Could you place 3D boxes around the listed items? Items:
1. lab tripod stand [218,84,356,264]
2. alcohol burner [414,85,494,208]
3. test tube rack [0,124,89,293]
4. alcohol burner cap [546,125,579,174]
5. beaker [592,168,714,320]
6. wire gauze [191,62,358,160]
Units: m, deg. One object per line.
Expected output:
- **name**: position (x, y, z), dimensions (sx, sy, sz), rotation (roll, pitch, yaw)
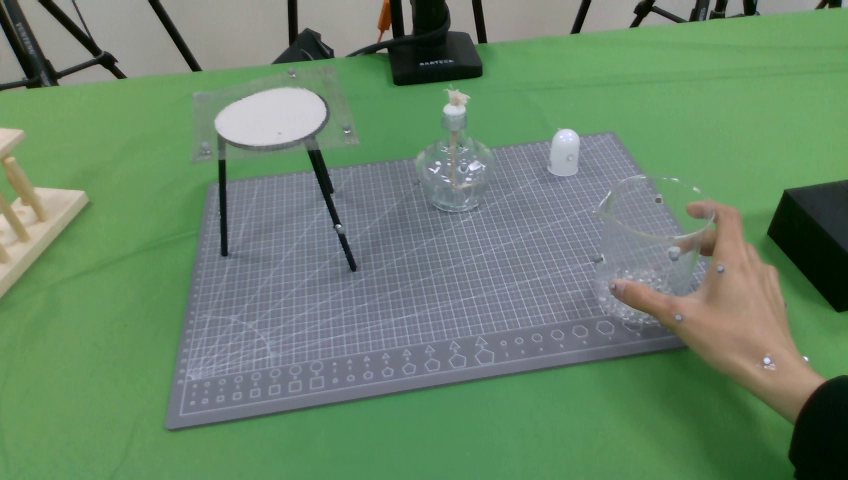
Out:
- **lab tripod stand**: position (-0.120, -0.055, 0.530), dimensions (0.148, 0.133, 0.147), rotation (-2, 45, 2)
- **alcohol burner**: position (0.028, -0.090, 0.574), dimensions (0.078, 0.120, 0.077), rotation (-2, 41, 2)
- **test tube rack**: position (-0.406, 0.001, 0.526), dimensions (0.066, 0.086, 0.240), rotation (5, 43, 9)
- **alcohol burner cap**: position (0.144, -0.096, 0.626), dimensions (0.034, 0.048, 0.033), rotation (-2, 42, 2)
- **beaker**: position (0.168, 0.007, 0.467), dimensions (0.084, 0.101, 0.073), rotation (-1, 43, 6)
- **wire gauze**: position (-0.124, -0.104, 0.484), dimensions (0.125, 0.011, 0.120), rotation (-12, 43, -8)
